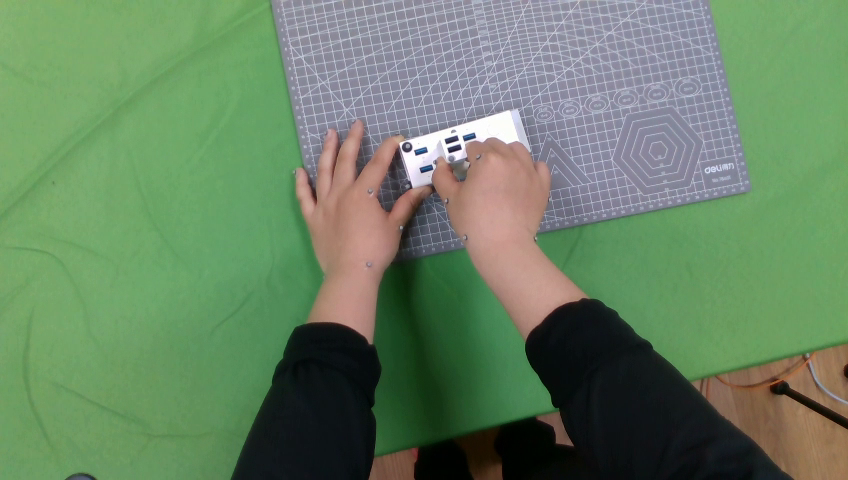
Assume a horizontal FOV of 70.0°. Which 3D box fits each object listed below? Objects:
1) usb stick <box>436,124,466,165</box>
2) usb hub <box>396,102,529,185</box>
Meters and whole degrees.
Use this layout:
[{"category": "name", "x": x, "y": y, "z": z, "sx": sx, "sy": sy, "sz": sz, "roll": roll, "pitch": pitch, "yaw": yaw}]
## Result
[{"category": "usb stick", "x": 0.025, "y": -0.088, "z": 0.572, "sx": 0.021, "sy": 0.059, "sz": 0.027, "roll": -21, "pitch": 84, "yaw": -1}, {"category": "usb hub", "x": 0.038, "y": -0.096, "z": 0.603, "sx": 0.125, "sy": 0.025, "sz": 0.049, "roll": -17, "pitch": 88, "yaw": -5}]
